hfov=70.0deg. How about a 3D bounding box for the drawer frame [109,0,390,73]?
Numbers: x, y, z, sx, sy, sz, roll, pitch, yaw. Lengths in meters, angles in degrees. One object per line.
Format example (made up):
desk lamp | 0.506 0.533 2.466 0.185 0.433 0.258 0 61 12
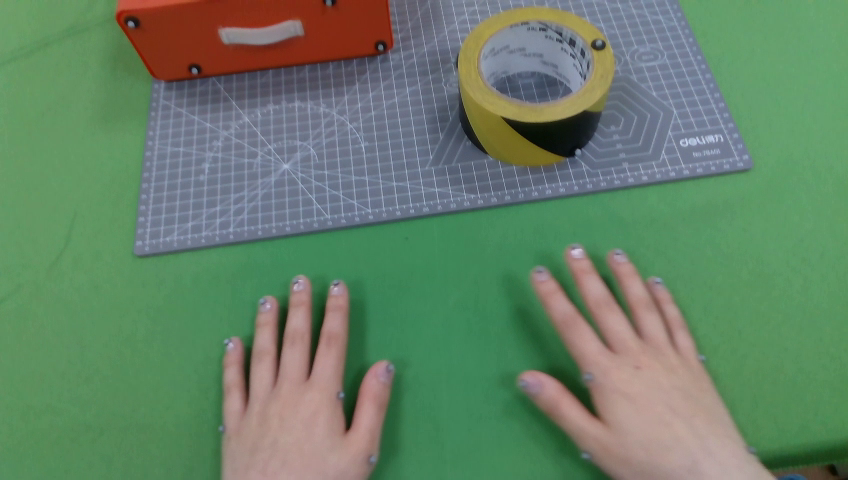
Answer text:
drawer frame | -0.140 -0.253 0.512 0.202 0.083 0.211 -8 62 -1

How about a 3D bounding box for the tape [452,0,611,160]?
tape | 0.079 -0.118 0.449 0.117 0.053 0.116 -1 63 3

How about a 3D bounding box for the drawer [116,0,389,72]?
drawer | -0.138 -0.251 0.512 0.194 0.074 0.210 -8 62 0
